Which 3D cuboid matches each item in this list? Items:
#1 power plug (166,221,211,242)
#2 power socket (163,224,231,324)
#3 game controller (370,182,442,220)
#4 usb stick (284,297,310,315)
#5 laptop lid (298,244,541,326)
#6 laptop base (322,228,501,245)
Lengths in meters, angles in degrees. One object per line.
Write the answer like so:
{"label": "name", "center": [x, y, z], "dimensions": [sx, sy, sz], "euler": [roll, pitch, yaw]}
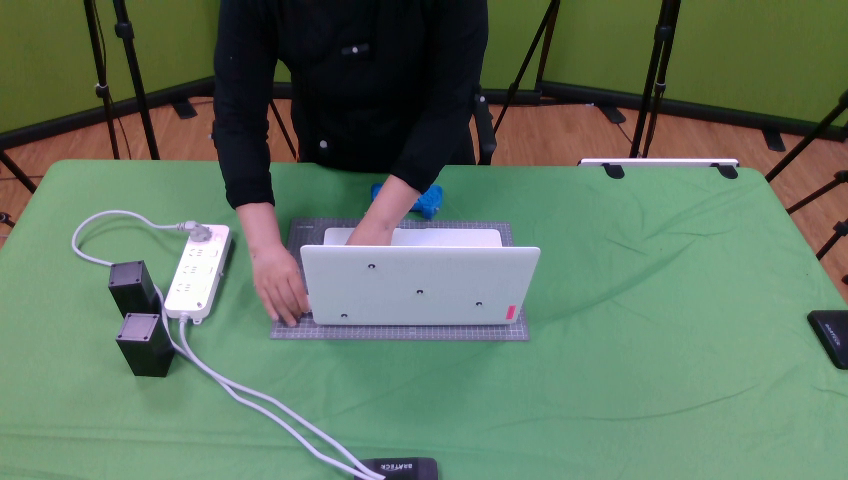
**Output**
{"label": "power plug", "center": [-0.439, -0.014, 1.144], "dimensions": [0.072, 0.053, 0.035], "euler": [7, 47, 9]}
{"label": "power socket", "center": [-0.410, 0.053, 1.106], "dimensions": [0.072, 0.033, 0.225], "euler": [3, 46, -3]}
{"label": "game controller", "center": [-0.038, -0.091, 1.267], "dimensions": [0.155, 0.052, 0.096], "euler": [2, 51, -2]}
{"label": "usb stick", "center": [-0.213, 0.116, 1.062], "dimensions": [0.059, 0.027, 0.021], "euler": [1, 40, 4]}
{"label": "laptop lid", "center": [-0.009, 0.077, 0.957], "dimensions": [0.357, 0.243, 0.013], "euler": [1, 53, -5]}
{"label": "laptop base", "center": [-0.020, 0.065, 1.136], "dimensions": [0.355, 0.023, 0.234], "euler": [0, 43, -4]}
